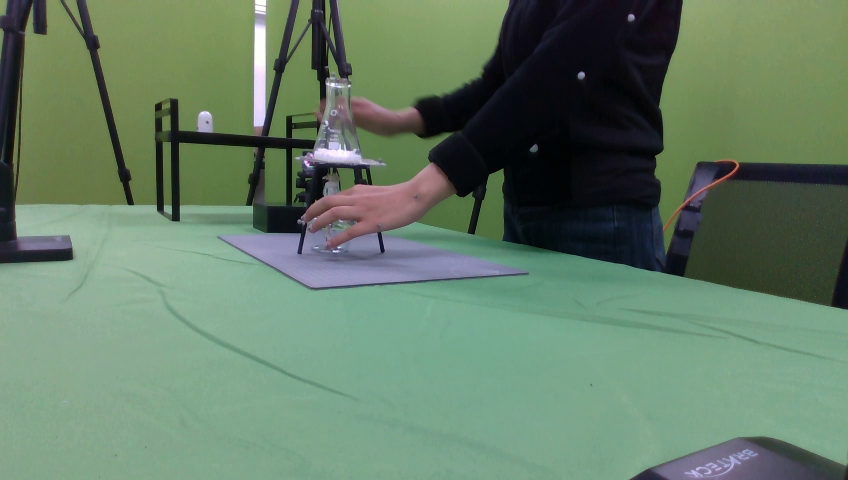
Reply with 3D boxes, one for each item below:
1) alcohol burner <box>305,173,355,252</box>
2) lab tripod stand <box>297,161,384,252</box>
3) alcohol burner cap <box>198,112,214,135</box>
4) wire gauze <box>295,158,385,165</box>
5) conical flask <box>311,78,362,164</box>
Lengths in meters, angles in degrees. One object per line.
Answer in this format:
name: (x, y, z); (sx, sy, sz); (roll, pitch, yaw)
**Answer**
alcohol burner: (-0.140, -0.041, 0.898); (0.078, 0.119, 0.078); (4, 7, 0)
lab tripod stand: (-0.130, -0.050, 0.903); (0.148, 0.131, 0.148); (4, 9, 0)
alcohol burner cap: (-0.459, -0.246, 1.271); (0.034, 0.048, 0.034); (2, 7, 0)
wire gauze: (-0.128, -0.117, 0.901); (0.125, 0.011, 0.121); (-2, 8, -14)
conical flask: (-0.128, -0.174, 0.890); (0.075, 0.122, 0.075); (3, 8, 0)
